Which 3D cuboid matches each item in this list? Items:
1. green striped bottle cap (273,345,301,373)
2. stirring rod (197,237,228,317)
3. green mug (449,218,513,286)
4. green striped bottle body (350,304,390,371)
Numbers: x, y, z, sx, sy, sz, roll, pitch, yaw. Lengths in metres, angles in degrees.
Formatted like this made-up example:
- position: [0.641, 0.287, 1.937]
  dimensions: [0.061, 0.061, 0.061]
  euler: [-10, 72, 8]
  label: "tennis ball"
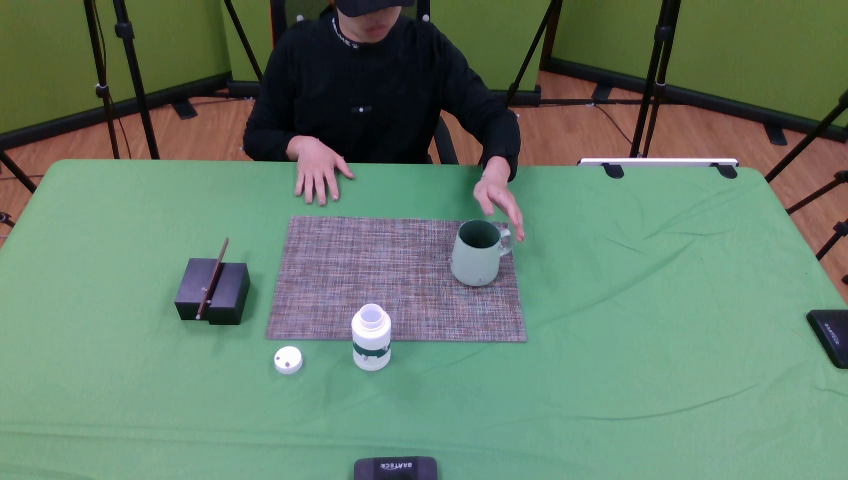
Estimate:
- position: [-0.225, 0.195, 0.997]
  dimensions: [0.044, 0.020, 0.044]
  euler: [1, 50, -1]
  label: "green striped bottle cap"
- position: [-0.363, 0.060, 1.047]
  dimensions: [0.006, 0.014, 0.175]
  euler: [7, 46, -3]
  label: "stirring rod"
- position: [0.110, 0.018, 1.126]
  dimensions: [0.125, 0.105, 0.092]
  euler: [-19, 50, -21]
  label: "green mug"
- position: [-0.086, 0.154, 0.976]
  dimensions: [0.063, 0.120, 0.063]
  euler: [2, 46, -2]
  label: "green striped bottle body"
